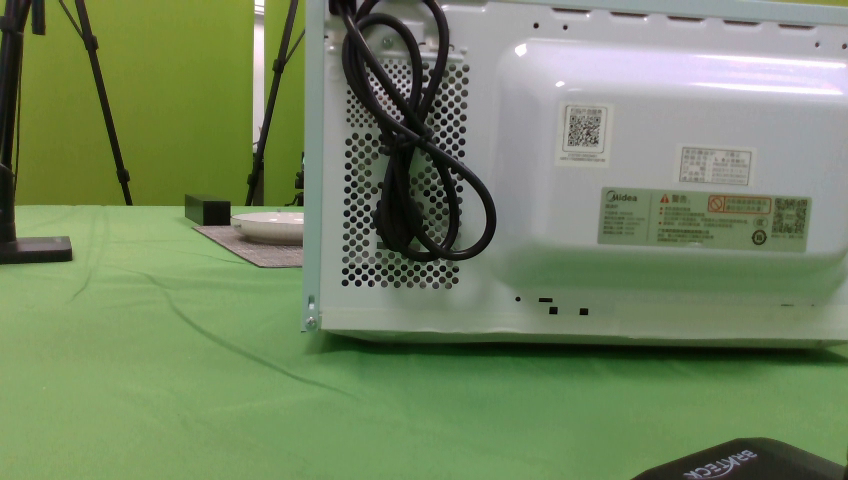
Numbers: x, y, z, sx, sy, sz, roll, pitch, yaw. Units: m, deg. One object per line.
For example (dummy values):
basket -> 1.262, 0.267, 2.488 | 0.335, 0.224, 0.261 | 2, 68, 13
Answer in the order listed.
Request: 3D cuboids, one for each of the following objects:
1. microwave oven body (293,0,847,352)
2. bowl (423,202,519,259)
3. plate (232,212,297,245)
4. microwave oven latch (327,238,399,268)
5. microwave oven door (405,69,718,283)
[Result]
microwave oven body -> 0.122, -0.055, 0.550 | 0.442, 0.260, 0.325 | 3, 7, -5
bowl -> 0.073, -0.014, 0.962 | 0.151, 0.077, 0.151 | 3, 9, 0
plate -> -0.214, -0.019, 1.018 | 0.208, 0.039, 0.207 | 3, 7, 0
microwave oven latch -> -0.069, 0.015, 0.694 | 0.079, 0.029, 0.030 | 3, 7, -3
microwave oven door -> 0.158, -0.082, 0.742 | 0.355, 0.243, 0.039 | 4, 9, 11
